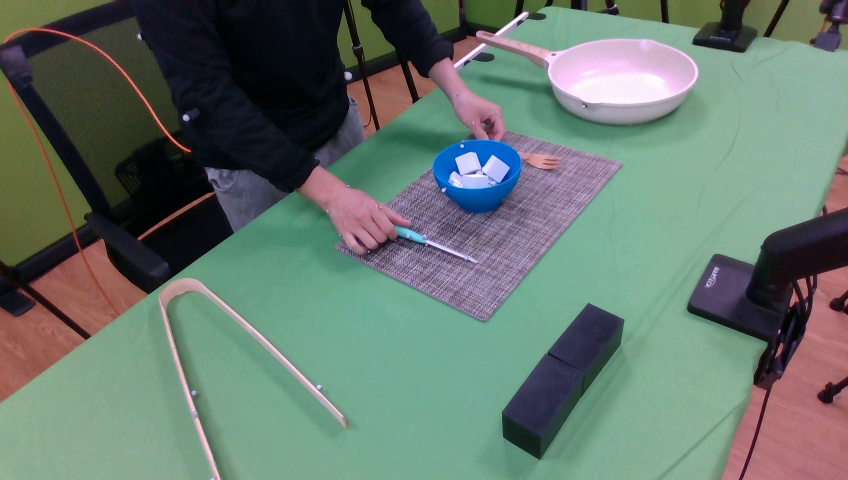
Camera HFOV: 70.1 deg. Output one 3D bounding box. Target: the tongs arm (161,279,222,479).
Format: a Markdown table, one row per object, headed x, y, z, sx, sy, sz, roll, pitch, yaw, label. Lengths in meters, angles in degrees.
| x | y | z | sx | sy | sz | roll | pitch | yaw | label |
| --- | --- | --- | --- | --- | --- | --- | --- | --- | --- |
| -0.297 | 0.174 | 0.797 | 0.051 | 0.026 | 0.381 | -25 | 43 | -21 | tongs arm |

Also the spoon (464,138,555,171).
| x | y | z | sx | sy | sz | roll | pitch | yaw | label |
| --- | --- | --- | --- | --- | --- | --- | --- | --- | --- |
| 0.155 | -0.162 | 1.125 | 0.192 | 0.022 | 0.042 | 28 | 40 | 29 | spoon |

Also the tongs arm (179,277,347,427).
| x | y | z | sx | sy | sz | roll | pitch | yaw | label |
| --- | --- | --- | --- | --- | --- | --- | --- | --- | --- |
| -0.231 | 0.141 | 0.832 | 0.384 | 0.028 | 0.028 | 30 | 55 | 35 | tongs arm |

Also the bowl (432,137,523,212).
| x | y | z | sx | sy | sz | roll | pitch | yaw | label |
| --- | --- | --- | --- | --- | --- | --- | --- | --- | --- |
| 0.091 | -0.100 | 1.022 | 0.151 | 0.077 | 0.150 | -4 | 41 | 4 | bowl |

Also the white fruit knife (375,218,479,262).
| x | y | z | sx | sy | sz | roll | pitch | yaw | label |
| --- | --- | --- | --- | --- | --- | --- | --- | --- | --- |
| 0.000 | 0.000 | 0.963 | 0.206 | 0.016 | 0.027 | 21 | 10 | 30 | white fruit knife |

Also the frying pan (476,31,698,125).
| x | y | z | sx | sy | sz | roll | pitch | yaw | label |
| --- | --- | --- | --- | --- | --- | --- | --- | --- | --- |
| 0.321 | -0.371 | 1.290 | 0.484 | 0.103 | 0.307 | 29 | 51 | 23 | frying pan |
